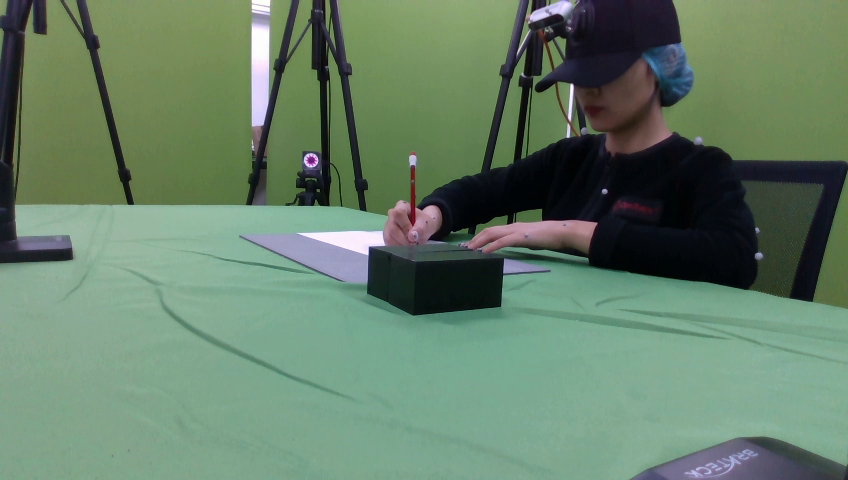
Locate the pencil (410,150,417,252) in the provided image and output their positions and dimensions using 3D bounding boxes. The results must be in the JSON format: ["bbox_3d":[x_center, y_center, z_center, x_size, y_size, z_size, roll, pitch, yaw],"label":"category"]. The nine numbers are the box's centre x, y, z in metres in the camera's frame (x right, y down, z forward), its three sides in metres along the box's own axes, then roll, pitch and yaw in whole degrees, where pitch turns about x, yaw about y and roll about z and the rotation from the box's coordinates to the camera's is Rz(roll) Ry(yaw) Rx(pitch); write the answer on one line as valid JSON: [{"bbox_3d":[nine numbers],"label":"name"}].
[{"bbox_3d":[-0.015,-0.064,0.945,0.012,0.193,0.012,-1,-32,0],"label":"pencil"}]
